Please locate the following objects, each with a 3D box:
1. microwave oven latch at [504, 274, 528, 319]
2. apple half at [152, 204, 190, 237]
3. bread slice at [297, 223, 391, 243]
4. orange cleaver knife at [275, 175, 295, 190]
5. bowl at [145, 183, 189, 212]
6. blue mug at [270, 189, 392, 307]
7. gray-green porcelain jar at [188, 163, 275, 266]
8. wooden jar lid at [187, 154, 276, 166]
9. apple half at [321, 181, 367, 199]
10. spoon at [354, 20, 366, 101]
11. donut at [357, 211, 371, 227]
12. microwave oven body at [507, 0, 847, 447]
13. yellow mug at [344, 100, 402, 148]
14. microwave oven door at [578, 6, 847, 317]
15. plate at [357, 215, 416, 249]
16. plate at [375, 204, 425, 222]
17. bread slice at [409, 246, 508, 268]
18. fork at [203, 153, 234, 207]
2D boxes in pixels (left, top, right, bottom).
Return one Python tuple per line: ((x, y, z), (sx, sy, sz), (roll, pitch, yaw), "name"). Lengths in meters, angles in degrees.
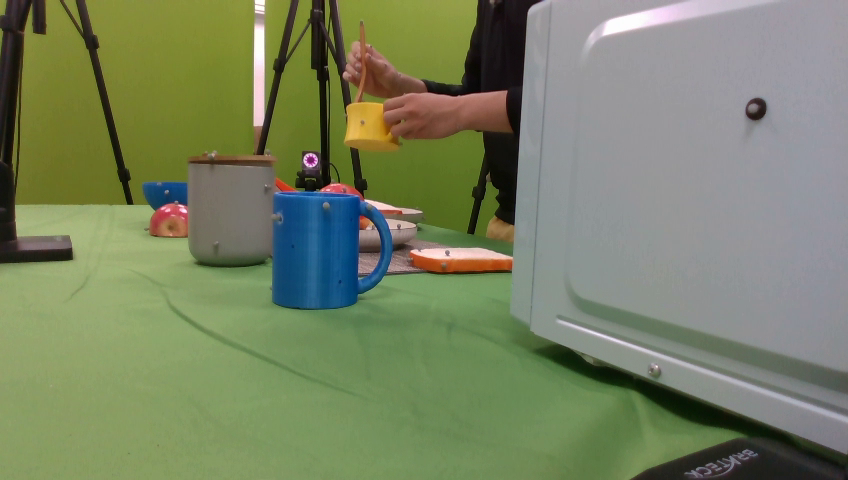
((0.100, 0.041, 0.471), (0.079, 0.029, 0.030), (-1, 7, -27), "microwave oven latch")
((-0.415, -0.034, 1.017), (0.081, 0.053, 0.074), (1, 10, -9), "apple half")
((-0.121, -0.013, 0.971), (0.106, 0.018, 0.135), (9, 11, 42), "bread slice")
((-0.283, -0.087, 1.343), (0.212, 0.077, 0.012), (24, -16, -41), "orange cleaver knife")
((-0.459, -0.069, 1.175), (0.151, 0.077, 0.151), (3, 7, 0), "bowl")
((-0.090, 0.005, 0.588), (0.117, 0.106, 0.082), (1, 7, -11), "blue mug")
((-0.246, -0.034, 0.779), (0.106, 0.126, 0.106), (1, 7, 0), "gray-green porcelain jar")
((-0.244, -0.097, 0.771), (0.108, 0.020, 0.108), (-1, 7, 0), "wooden jar lid")
((-0.129, -0.077, 0.952), (0.081, 0.033, 0.081), (1, 15, 0), "apple half")
((-0.114, -0.297, 1.086), (0.021, 0.193, 0.041), (4, 2, 9), "spoon")
((-0.132, -0.041, 0.959), (0.099, 0.048, 0.099), (3, 7, 0), "donut")
((0.331, -0.042, 0.425), (0.444, 0.260, 0.324), (-2, 8, -31), "microwave oven body")
((-0.082, -0.205, 1.068), (0.100, 0.064, 0.130), (5, -2, -35), "yellow mug")
((0.294, -0.067, 0.570), (0.358, 0.243, 0.039), (-3, 9, -31), "microwave oven door")
((-0.117, -0.014, 0.967), (0.208, 0.039, 0.207), (2, 7, 0), "plate")
((-0.102, -0.053, 1.299), (0.209, 0.038, 0.209), (2, 8, 0), "plate")
((0.047, 0.022, 0.816), (0.132, 0.019, 0.104), (0, 6, -24), "bread slice")
((-0.480, -0.134, 1.411), (0.028, 0.018, 0.207), (1, -35, 0), "fork")
